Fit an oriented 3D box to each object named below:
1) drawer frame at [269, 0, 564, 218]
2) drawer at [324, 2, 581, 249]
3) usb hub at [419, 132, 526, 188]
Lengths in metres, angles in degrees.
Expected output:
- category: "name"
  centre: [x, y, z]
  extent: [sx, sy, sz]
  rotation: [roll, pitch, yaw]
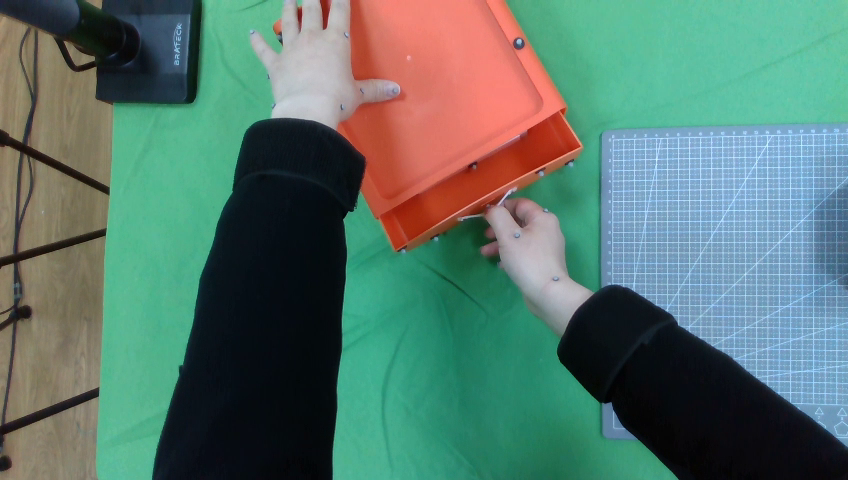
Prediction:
- category: "drawer frame"
  centre: [-0.007, -0.158, 0.582]
  extent: [0.201, 0.083, 0.213]
  rotation: [-30, 85, 8]
- category: "drawer"
  centre: [0.012, -0.125, 0.580]
  extent: [0.194, 0.073, 0.211]
  rotation: [-29, 85, 8]
- category: "usb hub"
  centre: [0.033, -0.088, 0.592]
  extent: [0.125, 0.025, 0.049]
  rotation: [-14, 88, 14]
